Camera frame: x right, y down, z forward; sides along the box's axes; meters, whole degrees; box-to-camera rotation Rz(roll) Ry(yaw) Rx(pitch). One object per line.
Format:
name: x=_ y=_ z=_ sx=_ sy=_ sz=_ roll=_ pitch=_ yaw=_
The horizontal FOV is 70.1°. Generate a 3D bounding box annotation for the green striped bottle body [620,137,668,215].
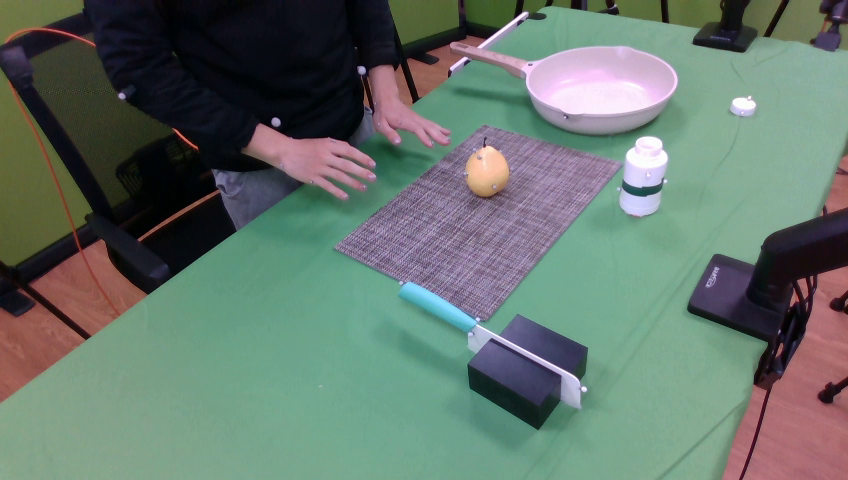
green striped bottle body: x=0.350 y=-0.103 z=0.963 sx=0.063 sy=0.120 sz=0.063 roll=-4 pitch=41 yaw=4

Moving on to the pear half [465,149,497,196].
pear half: x=0.091 y=-0.110 z=1.025 sx=0.070 sy=0.088 sz=0.031 roll=30 pitch=52 yaw=30

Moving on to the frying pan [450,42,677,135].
frying pan: x=0.268 y=-0.344 z=1.266 sx=0.485 sy=0.103 sz=0.307 roll=25 pitch=49 yaw=21

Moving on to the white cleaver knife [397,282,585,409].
white cleaver knife: x=0.074 y=0.131 z=0.770 sx=0.284 sy=0.066 sz=0.021 roll=27 pitch=45 yaw=31

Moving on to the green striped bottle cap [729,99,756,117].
green striped bottle cap: x=0.623 y=-0.259 z=1.182 sx=0.044 sy=0.020 sz=0.044 roll=-3 pitch=40 yaw=3

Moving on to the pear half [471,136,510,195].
pear half: x=0.115 y=-0.136 z=1.036 sx=0.076 sy=0.110 sz=0.056 roll=31 pitch=54 yaw=30
